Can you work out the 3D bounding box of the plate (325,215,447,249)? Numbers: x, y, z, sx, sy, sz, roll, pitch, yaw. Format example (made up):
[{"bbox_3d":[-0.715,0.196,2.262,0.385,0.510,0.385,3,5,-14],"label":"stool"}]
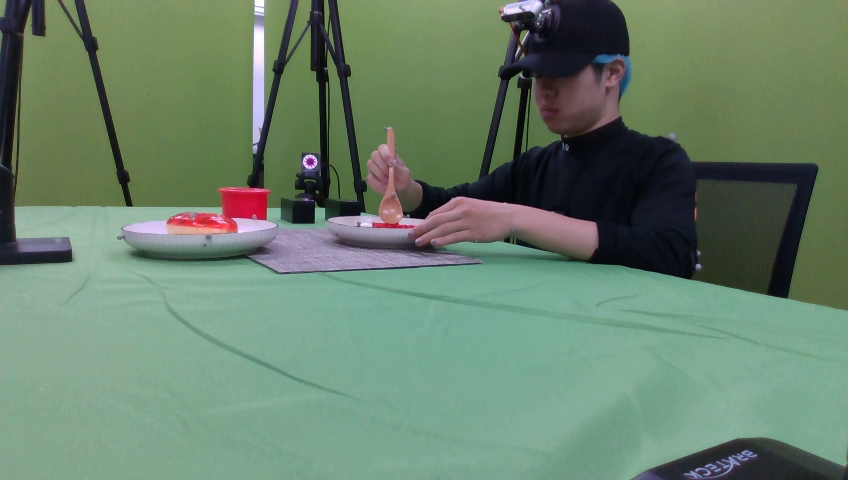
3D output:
[{"bbox_3d":[-0.066,-0.015,1.035,0.209,0.038,0.209,3,8,0],"label":"plate"}]

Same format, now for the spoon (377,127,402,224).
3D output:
[{"bbox_3d":[-0.058,-0.115,1.047,0.042,0.193,0.021,2,-20,-5],"label":"spoon"}]

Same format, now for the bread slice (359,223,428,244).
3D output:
[{"bbox_3d":[-0.062,-0.011,1.035,0.105,0.019,0.131,0,10,-19],"label":"bread slice"}]

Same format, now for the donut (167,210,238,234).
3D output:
[{"bbox_3d":[-0.321,-0.017,0.882,0.099,0.048,0.099,3,6,0],"label":"donut"}]

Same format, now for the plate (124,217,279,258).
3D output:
[{"bbox_3d":[-0.315,-0.004,0.871,0.208,0.039,0.207,1,8,0],"label":"plate"}]
